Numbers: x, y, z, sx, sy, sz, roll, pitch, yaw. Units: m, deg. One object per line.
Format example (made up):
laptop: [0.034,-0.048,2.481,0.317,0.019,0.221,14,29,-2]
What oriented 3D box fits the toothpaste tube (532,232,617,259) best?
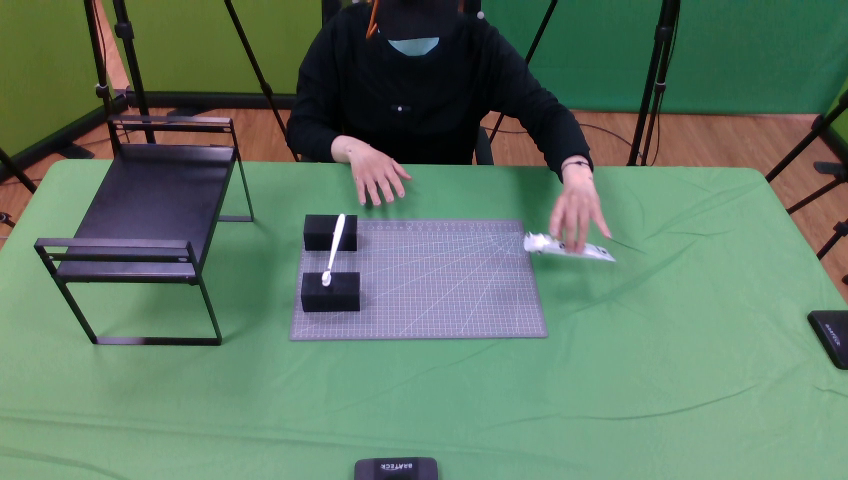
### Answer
toothpaste tube: [0.268,0.011,1.103,0.165,0.034,0.054,7,29,-13]

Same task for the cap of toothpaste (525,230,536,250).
cap of toothpaste: [0.191,0.000,1.087,0.011,0.037,0.037,6,46,-13]

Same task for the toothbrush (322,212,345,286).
toothbrush: [-0.164,0.011,1.101,0.014,0.017,0.181,-6,44,12]
